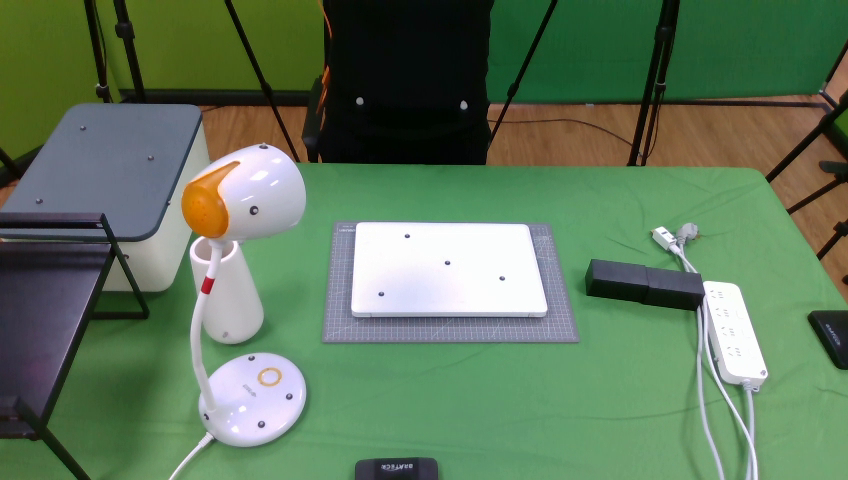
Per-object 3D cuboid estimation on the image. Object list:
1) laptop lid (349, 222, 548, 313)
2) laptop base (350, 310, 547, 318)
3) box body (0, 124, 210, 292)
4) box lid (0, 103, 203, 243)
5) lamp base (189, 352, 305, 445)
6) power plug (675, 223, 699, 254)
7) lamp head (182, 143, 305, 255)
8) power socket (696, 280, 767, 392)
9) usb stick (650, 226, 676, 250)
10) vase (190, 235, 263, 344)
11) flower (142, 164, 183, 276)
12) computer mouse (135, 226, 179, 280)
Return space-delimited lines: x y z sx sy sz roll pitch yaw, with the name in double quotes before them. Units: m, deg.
"laptop lid" 0.042 0.046 1.142 0.357 0.013 0.240 2 44 -3
"laptop base" 0.041 0.056 1.149 0.355 0.023 0.234 0 43 -4
"box body" -0.568 -0.082 1.134 0.254 0.161 0.361 2 46 -3
"box lid" -0.563 -0.132 1.079 0.263 0.015 0.369 1 46 -3
"lamp base" -0.268 0.197 0.876 0.160 0.181 0.179 25 52 20
"power plug" 0.537 0.000 1.244 0.053 0.035 0.072 19 82 -17
"lamp head" -0.216 -0.044 0.697 0.112 0.113 0.123 23 31 17
"power socket" 0.543 0.160 1.077 0.072 0.033 0.225 6 46 2
"usb stick" 0.485 -0.008 1.238 0.021 0.027 0.059 -22 44 -13
"vase" -0.317 0.081 0.971 0.098 0.201 0.097 3 47 -3
"flower" -0.493 -0.056 1.172 0.038 0.044 0.359 36 23 -32
"computer mouse" -0.493 0.020 1.118 0.063 0.041 0.116 1 53 -10
